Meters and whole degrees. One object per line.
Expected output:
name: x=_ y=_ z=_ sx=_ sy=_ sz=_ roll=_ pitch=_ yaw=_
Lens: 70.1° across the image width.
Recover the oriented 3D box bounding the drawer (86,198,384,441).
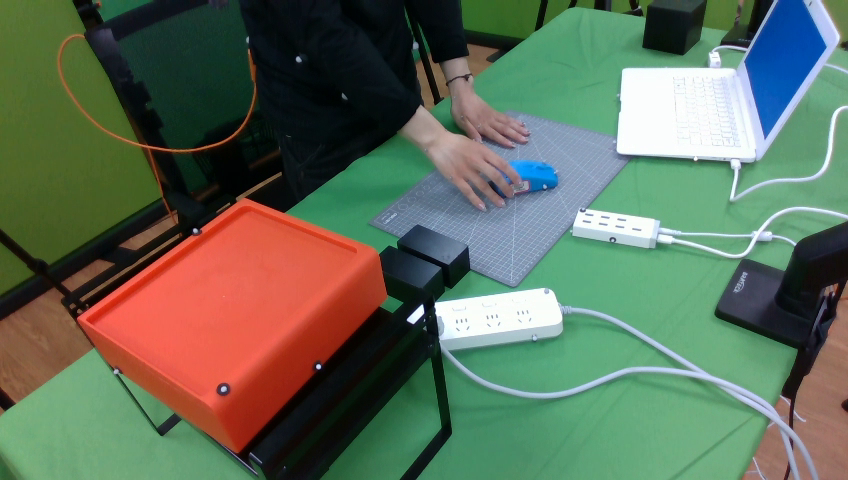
drawer: x=-0.179 y=0.064 z=0.600 sx=0.193 sy=0.073 sz=0.212 roll=21 pitch=48 yaw=28

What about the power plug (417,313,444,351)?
power plug: x=0.007 y=0.127 z=0.786 sx=0.035 sy=0.053 sz=0.072 roll=0 pitch=43 yaw=8

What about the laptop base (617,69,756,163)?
laptop base: x=0.509 y=-0.255 z=1.201 sx=0.234 sy=0.023 sz=0.353 roll=4 pitch=41 yaw=16

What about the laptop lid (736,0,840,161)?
laptop lid: x=0.641 y=-0.327 z=1.090 sx=0.013 sy=0.242 sz=0.356 roll=16 pitch=43 yaw=5

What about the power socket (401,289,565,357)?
power socket: x=0.081 y=0.112 z=0.822 sx=0.227 sy=0.033 sz=0.072 roll=-7 pitch=41 yaw=0

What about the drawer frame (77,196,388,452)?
drawer frame: x=-0.179 y=0.066 z=0.598 sx=0.200 sy=0.083 sz=0.214 roll=20 pitch=48 yaw=28

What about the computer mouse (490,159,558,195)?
computer mouse: x=0.177 y=-0.114 z=1.066 sx=0.117 sy=0.041 sz=0.062 roll=-7 pitch=39 yaw=-6

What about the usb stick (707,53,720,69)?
usb stick: x=0.629 y=-0.382 z=1.313 sx=0.021 sy=0.027 sz=0.059 roll=2 pitch=46 yaw=17

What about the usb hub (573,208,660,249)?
usb hub: x=0.301 y=-0.019 z=0.949 sx=0.124 sy=0.025 sz=0.049 roll=11 pitch=43 yaw=20
